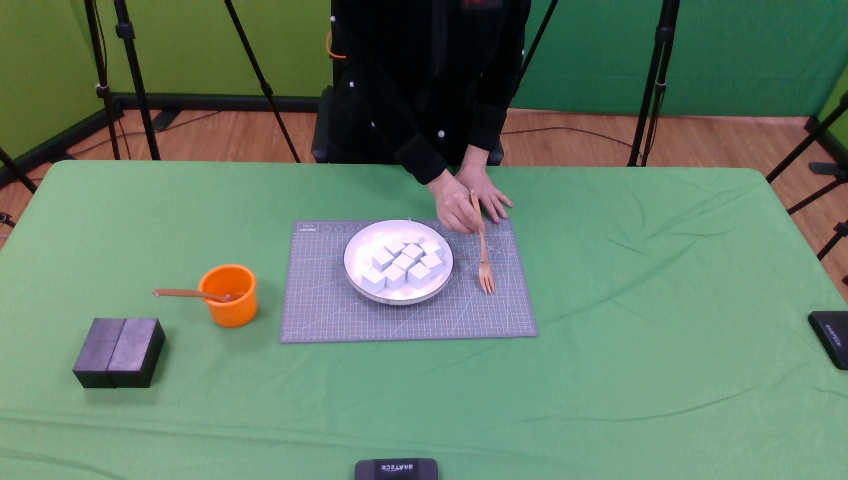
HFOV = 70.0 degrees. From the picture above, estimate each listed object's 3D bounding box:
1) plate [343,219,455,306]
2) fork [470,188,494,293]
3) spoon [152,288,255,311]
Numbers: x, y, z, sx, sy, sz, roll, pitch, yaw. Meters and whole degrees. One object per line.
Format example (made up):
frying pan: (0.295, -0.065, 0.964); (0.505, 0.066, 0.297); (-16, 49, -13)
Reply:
plate: (-0.047, 0.045, 1.136); (0.208, 0.039, 0.206); (2, 46, -2)
fork: (0.107, 0.000, 1.145); (0.028, 0.018, 0.206); (-3, 79, -22)
spoon: (-0.356, 0.092, 0.992); (0.021, 0.195, 0.041); (-47, 59, 13)
